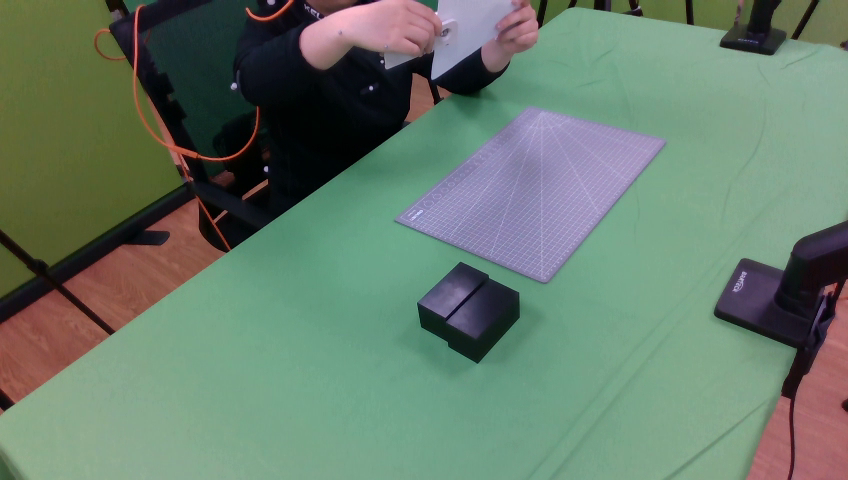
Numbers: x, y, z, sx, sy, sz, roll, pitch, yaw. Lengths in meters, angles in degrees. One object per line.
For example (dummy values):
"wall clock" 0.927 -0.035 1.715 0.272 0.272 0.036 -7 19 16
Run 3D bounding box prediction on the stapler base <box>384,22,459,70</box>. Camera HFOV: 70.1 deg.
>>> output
"stapler base" -0.007 -0.300 0.914 0.131 0.041 0.024 -29 66 -18

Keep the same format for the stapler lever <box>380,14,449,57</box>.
"stapler lever" -0.016 -0.312 0.919 0.118 0.027 0.040 -19 64 -14
